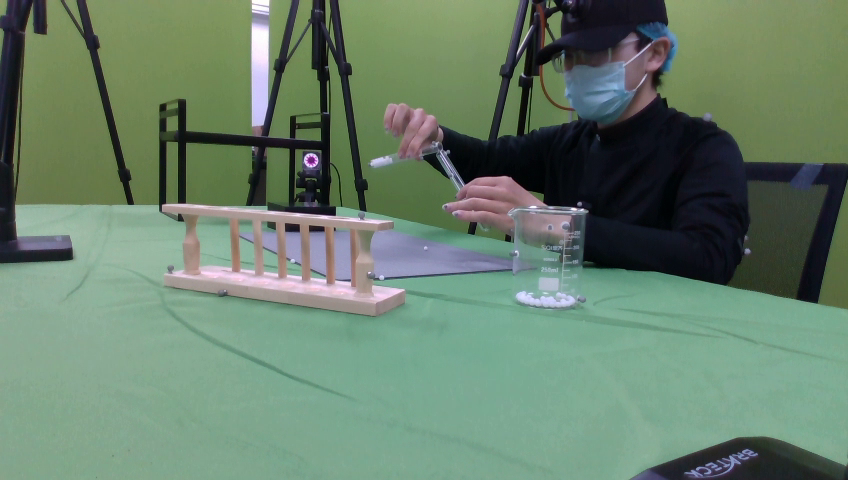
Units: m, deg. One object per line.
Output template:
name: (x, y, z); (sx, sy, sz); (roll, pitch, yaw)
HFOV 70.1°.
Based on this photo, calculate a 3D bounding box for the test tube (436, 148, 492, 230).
test tube: (0.061, -0.078, 0.921); (0.017, 0.150, 0.017); (-29, -15, -8)

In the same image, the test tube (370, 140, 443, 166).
test tube: (-0.032, -0.141, 0.988); (0.149, 0.017, 0.017); (-9, 0, 37)

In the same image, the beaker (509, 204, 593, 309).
beaker: (0.125, 0.015, 0.613); (0.084, 0.100, 0.074); (1, 7, -5)

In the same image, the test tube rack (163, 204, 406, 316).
test tube rack: (-0.141, 0.013, 0.601); (0.241, 0.085, 0.067); (5, 8, 21)
